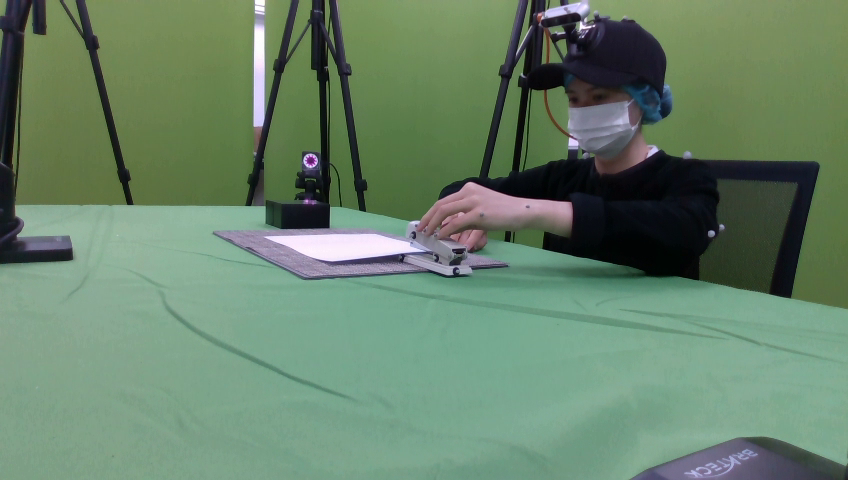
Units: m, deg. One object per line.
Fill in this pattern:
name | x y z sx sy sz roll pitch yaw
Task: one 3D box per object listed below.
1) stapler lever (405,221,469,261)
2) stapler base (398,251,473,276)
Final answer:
stapler lever | 0.014 0.000 0.792 0.027 0.040 0.117 -5 11 -33
stapler base | 0.012 0.024 0.797 0.041 0.024 0.130 -4 12 -33
